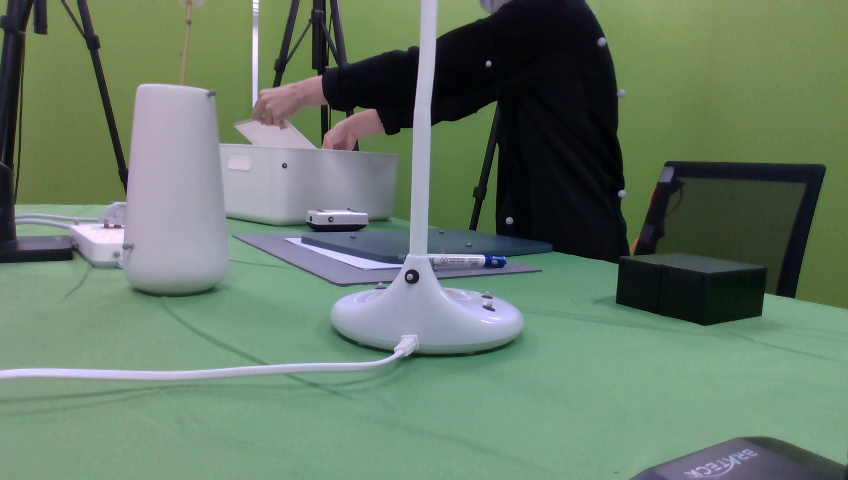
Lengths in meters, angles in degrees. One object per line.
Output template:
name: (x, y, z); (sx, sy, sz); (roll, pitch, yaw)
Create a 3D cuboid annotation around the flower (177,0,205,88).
flower: (-0.243, -0.131, 0.609); (0.044, 0.361, 0.038); (-5, -12, 11)

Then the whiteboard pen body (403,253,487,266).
whiteboard pen body: (0.040, 0.026, 0.785); (0.141, 0.017, 0.017); (2, 7, -24)

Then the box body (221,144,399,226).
box body: (-0.264, -0.129, 1.380); (0.253, 0.160, 0.366); (8, 9, 39)

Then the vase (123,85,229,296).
vase: (-0.244, -0.047, 0.598); (0.098, 0.200, 0.098); (3, 8, 0)

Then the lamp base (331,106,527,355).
lamp base: (0.006, -0.012, 0.478); (0.161, 0.180, 0.179); (2, 10, 2)

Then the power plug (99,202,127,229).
power plug: (-0.415, -0.026, 0.848); (0.073, 0.052, 0.035); (6, 5, -28)

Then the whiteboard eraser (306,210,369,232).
whiteboard eraser: (-0.168, -0.038, 1.172); (0.113, 0.042, 0.055); (-3, 7, -35)

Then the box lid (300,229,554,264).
box lid: (0.011, 0.006, 0.998); (0.374, 0.015, 0.262); (-3, 9, -43)

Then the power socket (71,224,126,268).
power socket: (-0.409, 0.004, 0.793); (0.072, 0.032, 0.225); (-2, 8, -37)

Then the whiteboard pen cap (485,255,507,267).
whiteboard pen cap: (0.093, 0.028, 0.809); (0.033, 0.018, 0.018); (1, 7, -24)

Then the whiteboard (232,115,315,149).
whiteboard: (-0.285, -0.213, 1.373); (0.216, 0.144, 0.307); (-1, 14, 41)
